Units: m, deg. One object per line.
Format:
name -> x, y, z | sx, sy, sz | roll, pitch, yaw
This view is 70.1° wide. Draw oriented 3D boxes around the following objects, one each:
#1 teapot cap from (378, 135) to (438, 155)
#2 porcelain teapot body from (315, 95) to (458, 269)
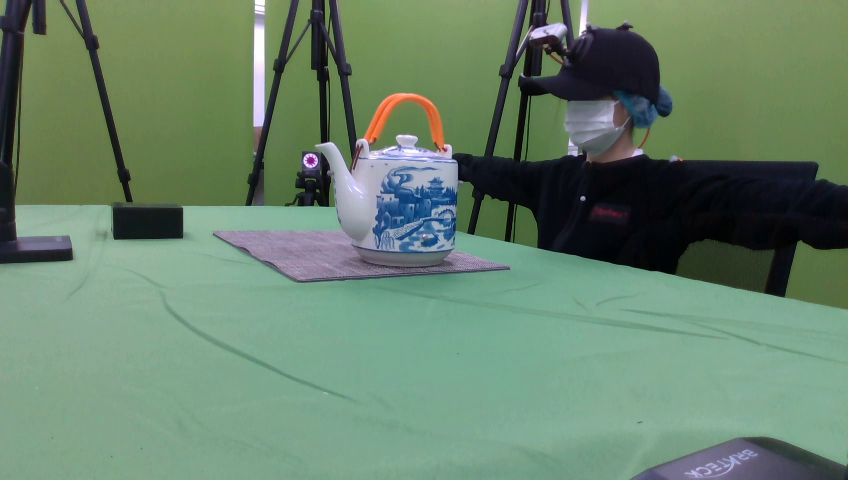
teapot cap -> -0.023, -0.119, 0.812 | 0.085, 0.044, 0.085 | 2, 9, 0
porcelain teapot body -> -0.049, -0.079, 0.800 | 0.206, 0.225, 0.144 | -3, 9, -37
